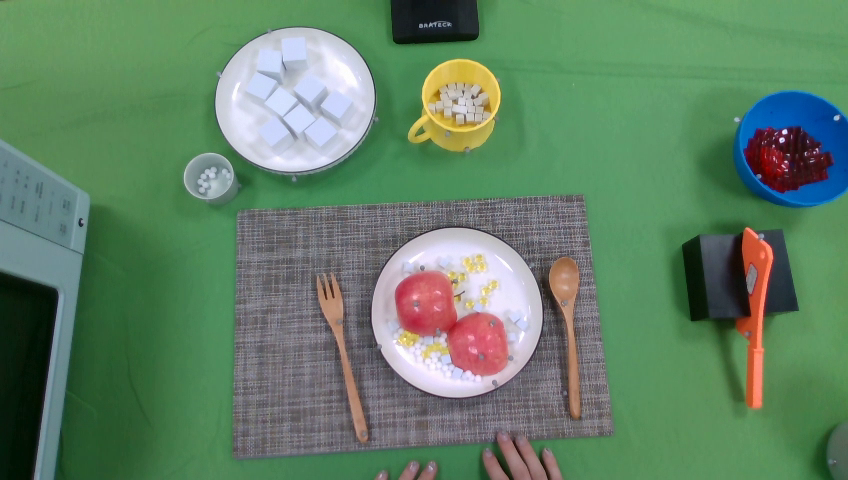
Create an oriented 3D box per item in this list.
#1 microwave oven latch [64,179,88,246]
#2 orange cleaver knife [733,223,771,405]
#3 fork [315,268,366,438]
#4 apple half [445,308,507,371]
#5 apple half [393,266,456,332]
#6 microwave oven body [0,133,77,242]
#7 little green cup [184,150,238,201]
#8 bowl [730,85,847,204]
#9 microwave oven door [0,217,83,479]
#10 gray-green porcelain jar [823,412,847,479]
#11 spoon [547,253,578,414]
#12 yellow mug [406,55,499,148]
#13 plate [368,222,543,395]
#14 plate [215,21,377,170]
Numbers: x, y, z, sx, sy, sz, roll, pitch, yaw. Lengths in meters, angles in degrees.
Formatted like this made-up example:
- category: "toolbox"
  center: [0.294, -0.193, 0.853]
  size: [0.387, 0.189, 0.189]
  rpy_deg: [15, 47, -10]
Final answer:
- category: "microwave oven latch"
  center: [-0.432, -0.033, 0.739]
  size: [0.030, 0.029, 0.079]
  rpy_deg: [1, 77, -1]
- category: "orange cleaver knife"
  center: [0.385, 0.087, 0.719]
  size: [0.012, 0.077, 0.212]
  rpy_deg: [-2, 100, 3]
- category: "fork"
  center: [-0.099, 0.134, 0.729]
  size: [0.028, 0.018, 0.206]
  rpy_deg: [-11, 75, -19]
- category: "apple half"
  center: [0.063, 0.118, 0.720]
  size: [0.081, 0.033, 0.081]
  rpy_deg: [0, 75, 1]
- category: "apple half"
  center: [0.000, 0.068, 0.721]
  size: [0.074, 0.053, 0.080]
  rpy_deg: [-5, 77, 1]
- category: "microwave oven body"
  center: [-0.580, 0.114, 0.603]
  size: [0.326, 0.261, 0.439]
  rpy_deg: [0, 77, -1]
- category: "little green cup"
  center: [-0.268, -0.080, 0.770]
  size: [0.061, 0.039, 0.061]
  rpy_deg: [0, 78, -1]
- category: "bowl"
  center: [0.452, -0.110, 0.768]
  size: [0.151, 0.077, 0.150]
  rpy_deg: [0, 77, 0]
- category: "microwave oven door"
  center: [-0.434, 0.156, 0.591]
  size: [0.039, 0.245, 0.354]
  rpy_deg: [0, 77, 0]
- category: "gray-green porcelain jar"
  center: [0.519, 0.239, 0.663]
  size: [0.106, 0.127, 0.105]
  rpy_deg: [0, 76, -1]
- category: "spoon"
  center: [0.174, 0.112, 0.737]
  size: [0.042, 0.021, 0.192]
  rpy_deg: [3, 75, -23]
- category: "yellow mug"
  center: [0.032, -0.170, 0.782]
  size: [0.131, 0.064, 0.099]
  rpy_deg: [-34, 79, -8]
- category: "plate"
  center: [0.037, 0.082, 0.734]
  size: [0.209, 0.038, 0.208]
  rpy_deg: [0, 77, -1]
- category: "plate"
  center: [-0.165, -0.187, 0.798]
  size: [0.208, 0.039, 0.206]
  rpy_deg: [0, 77, -1]
